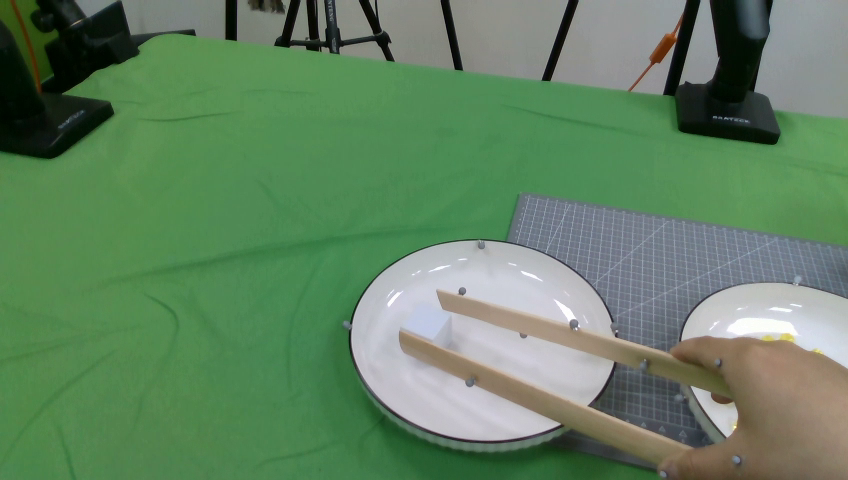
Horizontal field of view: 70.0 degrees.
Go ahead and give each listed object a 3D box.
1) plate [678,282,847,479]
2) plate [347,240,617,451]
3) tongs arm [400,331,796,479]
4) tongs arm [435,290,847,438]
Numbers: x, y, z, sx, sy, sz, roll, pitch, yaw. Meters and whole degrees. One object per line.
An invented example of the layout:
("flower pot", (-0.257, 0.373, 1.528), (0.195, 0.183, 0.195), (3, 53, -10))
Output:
("plate", (0.292, 0.116, 0.446), (0.208, 0.039, 0.205), (1, 40, 0))
("plate", (0.045, 0.079, 0.484), (0.209, 0.038, 0.207), (-1, 40, 1))
("tongs arm", (0.144, 0.116, 0.365), (0.385, 0.028, 0.028), (14, 40, 31))
("tongs arm", (0.162, 0.097, 0.384), (0.382, 0.027, 0.050), (12, 43, 30))
